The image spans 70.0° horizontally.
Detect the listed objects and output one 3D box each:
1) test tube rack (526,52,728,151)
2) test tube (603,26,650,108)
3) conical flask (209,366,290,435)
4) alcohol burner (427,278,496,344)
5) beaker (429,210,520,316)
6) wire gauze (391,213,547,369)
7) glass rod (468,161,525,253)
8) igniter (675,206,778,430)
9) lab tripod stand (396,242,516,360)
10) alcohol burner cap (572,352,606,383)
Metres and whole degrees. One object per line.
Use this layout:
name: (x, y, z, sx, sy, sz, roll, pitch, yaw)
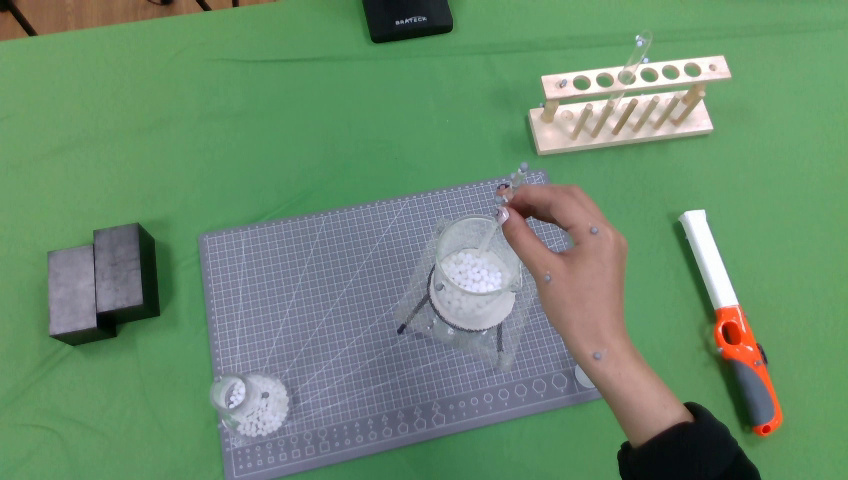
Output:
test tube rack: (0.265, -0.180, 0.794, 0.243, 0.085, 0.066, -8, 70, -6)
test tube: (0.248, -0.209, 0.751, 0.017, 0.151, 0.017, 0, 69, 0)
conical flask: (-0.184, 0.159, 0.622, 0.075, 0.122, 0.075, 1, 69, -2)
alcohol burner: (0.043, 0.075, 0.670, 0.078, 0.120, 0.077, 0, 70, -1)
beaker: (0.045, 0.027, 0.555, 0.083, 0.101, 0.074, 36, 73, 10)
wire gauze: (0.046, 0.046, 0.600, 0.125, 0.011, 0.121, 24, 73, 4)
glass rod: (0.053, -0.020, 0.483, 0.008, 0.200, 0.008, 2, 73, -5)
igniter: (0.363, 0.087, 0.731, 0.057, 0.025, 0.274, -6, 70, -16)
lab tripod stand: (0.041, 0.068, 0.662, 0.148, 0.132, 0.147, 1, 71, -1)
alcohol burner cap: (0.190, 0.143, 0.690, 0.034, 0.048, 0.033, 1, 68, -2)
